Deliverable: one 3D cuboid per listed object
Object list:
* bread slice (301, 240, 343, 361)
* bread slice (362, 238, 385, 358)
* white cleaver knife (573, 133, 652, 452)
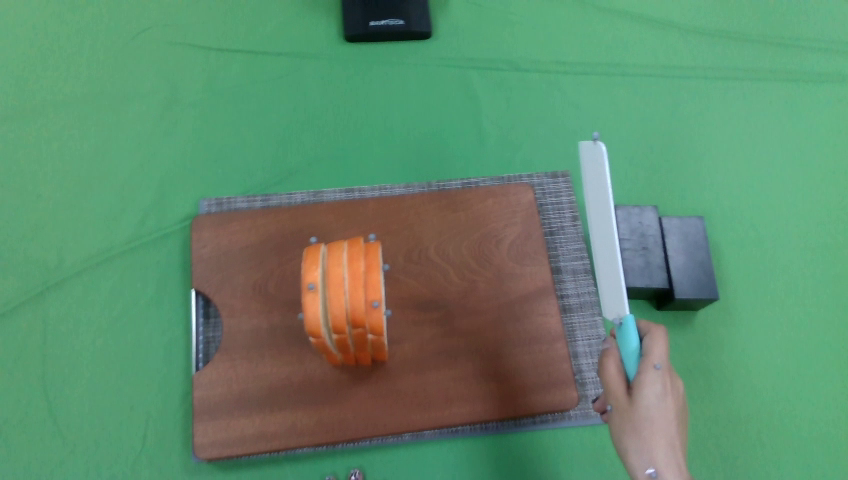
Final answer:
[{"bbox_3d":[-0.100,0.057,0.601,0.019,0.132,0.104,-5,69,0],"label":"bread slice"},{"bbox_3d":[-0.050,0.058,0.602,0.018,0.135,0.106,-4,74,-5],"label":"bread slice"},{"bbox_3d":[0.164,0.048,0.530,0.021,0.065,0.287,-10,96,-3],"label":"white cleaver knife"}]
